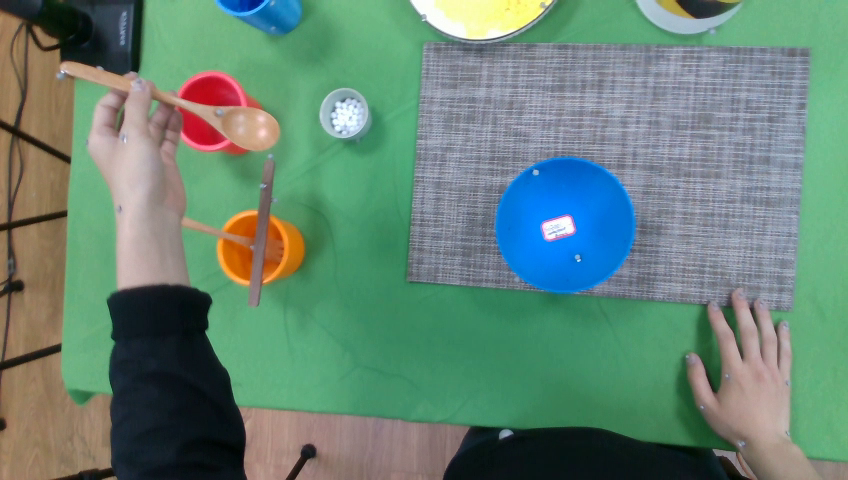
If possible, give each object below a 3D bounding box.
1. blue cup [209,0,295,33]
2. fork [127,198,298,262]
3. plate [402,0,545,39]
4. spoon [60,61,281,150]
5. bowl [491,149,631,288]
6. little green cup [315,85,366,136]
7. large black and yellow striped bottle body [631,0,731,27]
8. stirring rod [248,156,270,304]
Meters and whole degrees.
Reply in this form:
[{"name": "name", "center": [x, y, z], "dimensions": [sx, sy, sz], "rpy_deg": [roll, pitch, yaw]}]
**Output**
[{"name": "blue cup", "center": [-0.207, -0.303, 0.748], "dimensions": [0.092, 0.100, 0.092], "rpy_deg": [0, 90, 11]}, {"name": "fork", "center": [-0.248, -0.012, 0.731], "dimensions": [0.209, 0.018, 0.028], "rpy_deg": [20, 97, -35]}, {"name": "plate", "center": [0.064, -0.345, 0.737], "dimensions": [0.209, 0.038, 0.209], "rpy_deg": [0, 90, 9]}, {"name": "spoon", "center": [-0.229, -0.128, 0.558], "dimensions": [0.195, 0.021, 0.041], "rpy_deg": [18, 88, -19]}, {"name": "bowl", "center": [0.154, -0.022, 0.697], "dimensions": [0.151, 0.077, 0.151], "rpy_deg": [0, 90, 10]}, {"name": "little green cup", "center": [-0.103, -0.160, 0.763], "dimensions": [0.061, 0.039, 0.061], "rpy_deg": [0, 90, 10]}, {"name": "large black and yellow striped bottle body", "center": [0.287, -0.315, 0.626], "dimensions": [0.130, 0.184, 0.130], "rpy_deg": [0, 89, 10]}, {"name": "stirring rod", "center": [-0.196, -0.012, 0.720], "dimensions": [0.014, 0.006, 0.176], "rpy_deg": [5, 91, 11]}]
